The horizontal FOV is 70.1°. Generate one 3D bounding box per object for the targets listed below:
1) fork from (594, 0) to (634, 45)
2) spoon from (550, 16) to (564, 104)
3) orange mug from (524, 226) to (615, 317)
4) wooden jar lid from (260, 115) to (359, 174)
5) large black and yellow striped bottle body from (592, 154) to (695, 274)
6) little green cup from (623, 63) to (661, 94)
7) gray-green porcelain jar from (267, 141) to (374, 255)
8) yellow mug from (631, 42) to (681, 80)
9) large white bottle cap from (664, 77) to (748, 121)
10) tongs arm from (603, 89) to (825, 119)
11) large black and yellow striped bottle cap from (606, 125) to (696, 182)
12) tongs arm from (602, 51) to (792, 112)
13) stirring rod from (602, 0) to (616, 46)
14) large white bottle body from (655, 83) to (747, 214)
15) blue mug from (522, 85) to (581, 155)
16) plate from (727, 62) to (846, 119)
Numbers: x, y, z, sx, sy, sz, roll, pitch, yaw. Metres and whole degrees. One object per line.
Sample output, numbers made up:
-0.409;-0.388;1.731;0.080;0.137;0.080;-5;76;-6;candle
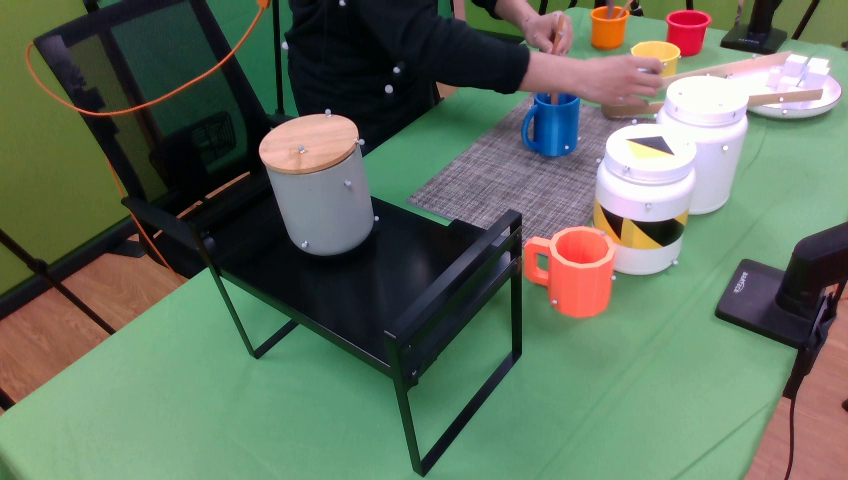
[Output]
0.484;-0.552;1.447;0.207;0.019;0.028;-51;46;17;fork
0.234;-0.302;1.086;0.021;0.194;0.041;9;34;19;spoon
0.201;0.039;0.845;0.125;0.101;0.083;18;46;21;orange mug
-0.124;-0.101;0.662;0.108;0.021;0.108;-4;41;4;wooden jar lid
0.313;-0.056;0.872;0.131;0.185;0.130;-4;41;4;large black and yellow striped bottle body
0.373;-0.277;1.036;0.061;0.039;0.061;-8;27;5;little green cup
-0.117;-0.054;0.703;0.106;0.127;0.105;-4;40;4;gray-green porcelain jar
0.495;-0.389;1.321;0.100;0.064;0.130;-14;40;-6;yellow mug
0.421;-0.212;0.905;0.115;0.018;0.114;-4;40;4;large white bottle cap
0.546;-0.262;1.162;0.386;0.028;0.028;-1;49;18;tongs arm
0.305;-0.119;0.816;0.115;0.019;0.114;-5;41;5;large black and yellow striped bottle cap
0.552;-0.319;1.223;0.384;0.027;0.050;-10;43;7;tongs arm
0.452;-0.554;1.464;0.014;0.006;0.176;11;86;15;stirring rod
0.430;-0.148;0.959;0.130;0.185;0.130;-4;41;4;large white bottle body
0.234;-0.219;1.127;0.117;0.106;0.081;-21;43;-15;blue mug
0.710;-0.292;1.198;0.207;0.039;0.206;-4;40;4;plate
